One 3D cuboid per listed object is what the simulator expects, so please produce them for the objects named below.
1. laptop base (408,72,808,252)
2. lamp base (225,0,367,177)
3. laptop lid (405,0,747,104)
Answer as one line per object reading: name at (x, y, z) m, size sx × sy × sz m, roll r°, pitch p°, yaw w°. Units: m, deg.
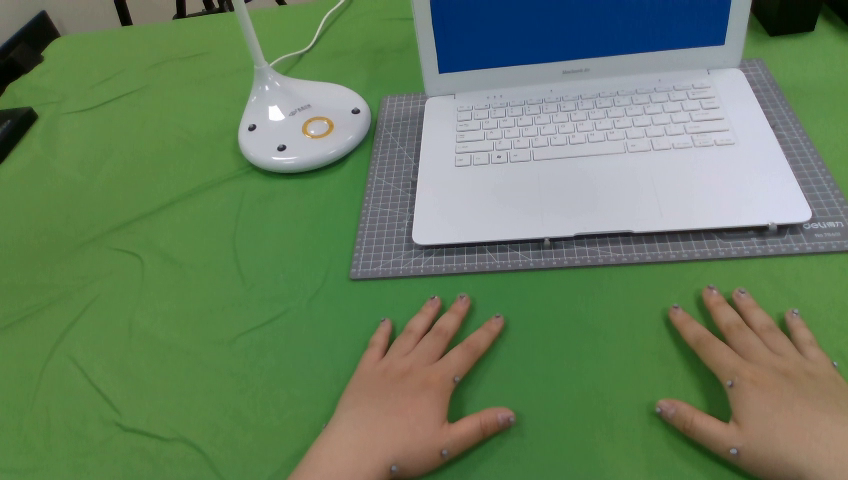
laptop base at (0.165, -0.083, 0.623) m, size 0.354 × 0.023 × 0.233 m, roll -4°, pitch 50°, yaw 8°
lamp base at (-0.169, -0.187, 0.679) m, size 0.177 × 0.182 × 0.160 m, roll 28°, pitch 58°, yaw 35°
laptop lid at (0.154, -0.262, 0.628) m, size 0.356 × 0.244 × 0.013 m, roll -5°, pitch 39°, yaw 9°
